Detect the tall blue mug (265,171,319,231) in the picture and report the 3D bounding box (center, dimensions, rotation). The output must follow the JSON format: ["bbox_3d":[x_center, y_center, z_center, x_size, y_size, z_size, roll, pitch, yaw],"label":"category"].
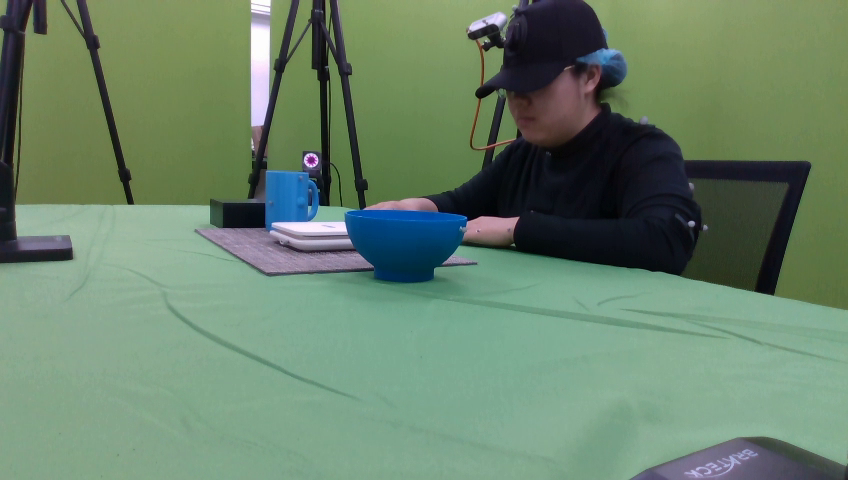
[{"bbox_3d":[-0.248,-0.073,1.121,0.078,0.108,0.107,3,8,8],"label":"tall blue mug"}]

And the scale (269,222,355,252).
[{"bbox_3d":[-0.130,-0.008,0.958,0.202,0.031,0.148,-1,9,-32],"label":"scale"}]

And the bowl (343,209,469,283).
[{"bbox_3d":[-0.023,0.007,0.730,0.151,0.077,0.151,3,7,0],"label":"bowl"}]
